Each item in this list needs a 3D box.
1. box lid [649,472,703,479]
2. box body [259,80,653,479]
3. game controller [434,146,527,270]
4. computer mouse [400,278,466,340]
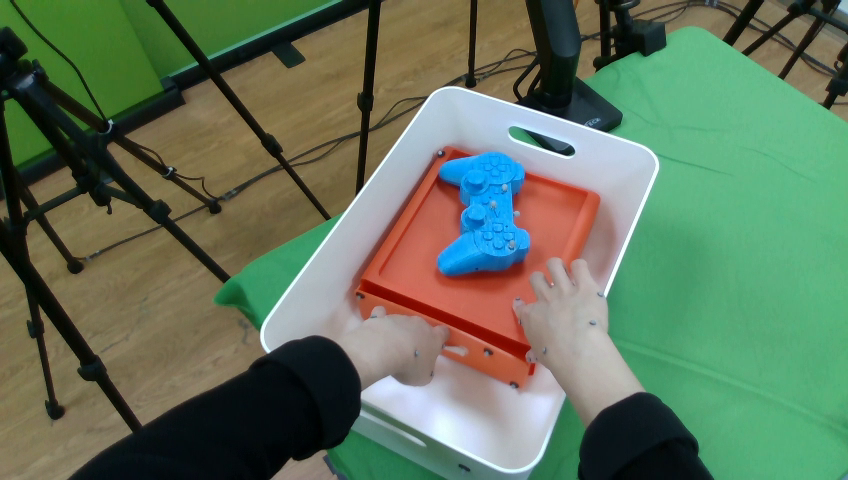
[{"bbox_3d":[0.187,0.392,0.478,0.263,0.015,0.367,-14,58,-6],"label":"box lid"},{"bbox_3d":[0.047,0.037,0.625,0.253,0.162,0.362,22,60,16],"label":"box body"},{"bbox_3d":[0.060,-0.041,0.657,0.097,0.052,0.153,2,57,-1],"label":"game controller"},{"bbox_3d":[0.012,0.069,0.666,0.062,0.041,0.116,-4,17,10],"label":"computer mouse"}]
